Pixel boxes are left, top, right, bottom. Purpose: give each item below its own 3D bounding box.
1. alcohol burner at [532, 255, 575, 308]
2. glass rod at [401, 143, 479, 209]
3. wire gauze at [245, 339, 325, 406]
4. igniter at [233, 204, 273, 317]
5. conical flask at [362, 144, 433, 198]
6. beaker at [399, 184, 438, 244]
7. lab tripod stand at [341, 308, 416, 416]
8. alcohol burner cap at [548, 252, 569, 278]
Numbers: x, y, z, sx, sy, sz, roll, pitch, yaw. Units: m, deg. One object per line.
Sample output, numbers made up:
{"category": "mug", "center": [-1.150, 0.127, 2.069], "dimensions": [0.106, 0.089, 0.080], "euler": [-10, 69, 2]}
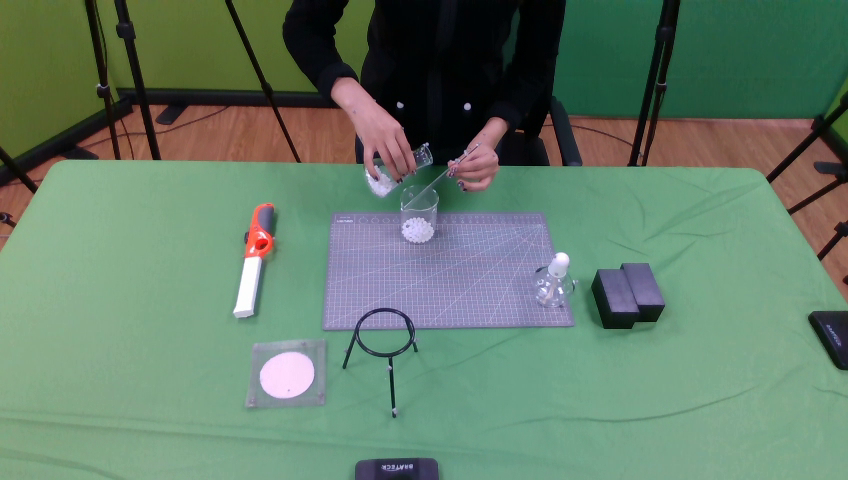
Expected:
{"category": "alcohol burner", "center": [0.235, 0.066, 1.087], "dimensions": [0.078, 0.119, 0.077], "euler": [4, 45, -3]}
{"category": "glass rod", "center": [0.026, -0.116, 1.124], "dimensions": [0.008, 0.200, 0.008], "euler": [38, 29, -26]}
{"category": "wire gauze", "center": [-0.224, 0.214, 0.984], "dimensions": [0.125, 0.011, 0.120], "euler": [-2, 46, -5]}
{"category": "igniter", "center": [-0.321, 0.029, 1.142], "dimensions": [0.057, 0.025, 0.274], "euler": [-8, 46, 4]}
{"category": "conical flask", "center": [-0.046, -0.131, 1.101], "dimensions": [0.122, 0.076, 0.075], "euler": [-23, 44, 17]}
{"category": "beaker", "center": [-0.015, -0.046, 1.186], "dimensions": [0.073, 0.101, 0.084], "euler": [36, 54, 27]}
{"category": "lab tripod stand", "center": [-0.061, 0.177, 0.946], "dimensions": [0.148, 0.132, 0.147], "euler": [2, 44, -2]}
{"category": "alcohol burner cap", "center": [0.238, 0.042, 1.060], "dimensions": [0.034, 0.048, 0.033], "euler": [1, 53, -1]}
